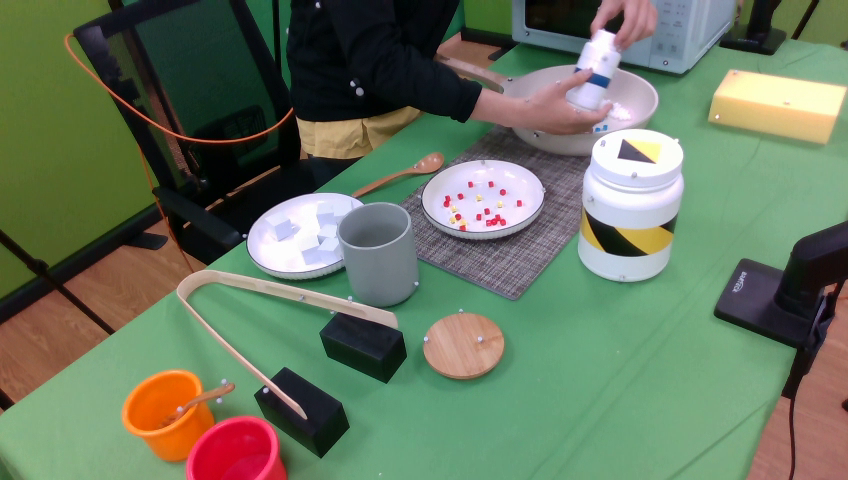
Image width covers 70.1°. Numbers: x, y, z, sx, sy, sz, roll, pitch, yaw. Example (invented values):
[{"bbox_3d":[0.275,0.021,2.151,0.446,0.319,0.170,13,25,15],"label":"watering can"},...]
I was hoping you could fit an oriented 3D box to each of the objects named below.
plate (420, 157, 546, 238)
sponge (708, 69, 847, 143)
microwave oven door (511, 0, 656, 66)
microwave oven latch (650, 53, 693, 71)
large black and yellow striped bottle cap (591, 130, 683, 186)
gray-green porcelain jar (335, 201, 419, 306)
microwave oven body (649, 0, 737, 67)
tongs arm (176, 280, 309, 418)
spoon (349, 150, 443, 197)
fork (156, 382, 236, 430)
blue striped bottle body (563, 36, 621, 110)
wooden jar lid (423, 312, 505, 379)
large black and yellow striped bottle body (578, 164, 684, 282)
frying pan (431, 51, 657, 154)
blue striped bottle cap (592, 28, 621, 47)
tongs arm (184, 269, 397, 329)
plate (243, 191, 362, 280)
[{"bbox_3d":[0.099,-0.067,1.017,0.209,0.038,0.208,-4,40,4],"label":"plate"},{"bbox_3d":[0.663,-0.256,1.142,0.205,0.061,0.118,18,47,28],"label":"sponge"},{"bbox_3d":[0.351,-0.540,1.349,0.353,0.245,0.039,24,50,31],"label":"microwave oven door"},{"bbox_3d":[0.531,-0.386,1.301,0.078,0.029,0.030,26,51,33],"label":"microwave oven latch"},{"bbox_3d":[0.282,-0.111,0.803,0.115,0.019,0.114,-3,41,3],"label":"large black and yellow striped bottle cap"},{"bbox_3d":[-0.064,0.024,0.872,0.106,0.127,0.105,-4,41,4],"label":"gray-green porcelain jar"},{"bbox_3d":[0.475,-0.602,1.411,0.438,0.261,0.327,23,50,32],"label":"microwave oven body"},{"bbox_3d":[-0.255,0.132,0.801,0.028,0.028,0.384,-41,40,-23],"label":"tongs arm"},{"bbox_3d":[-0.051,-0.123,1.120,0.194,0.022,0.041,-22,60,-18],"label":"spoon"},{"bbox_3d":[-0.262,0.189,0.690,0.018,0.206,0.028,49,43,-7],"label":"fork"},{"bbox_3d":[0.284,-0.284,1.010,0.063,0.121,0.063,18,20,-6],"label":"blue striped bottle body"},{"bbox_3d":[0.053,0.142,0.800,0.108,0.021,0.108,-5,39,4],"label":"wooden jar lid"},{"bbox_3d":[0.292,-0.046,0.859,0.131,0.185,0.130,-4,41,4],"label":"large black and yellow striped bottle body"},{"bbox_3d":[0.215,-0.302,1.223,0.484,0.103,0.308,29,50,25],"label":"frying pan"},{"bbox_3d":[0.300,-0.330,0.993,0.045,0.020,0.044,21,25,-10],"label":"blue striped bottle cap"},{"bbox_3d":[-0.202,0.084,0.848,0.382,0.027,0.051,11,44,35],"label":"tongs arm"},{"bbox_3d":[-0.188,-0.005,0.992,0.207,0.039,0.206,-4,40,3],"label":"plate"}]
